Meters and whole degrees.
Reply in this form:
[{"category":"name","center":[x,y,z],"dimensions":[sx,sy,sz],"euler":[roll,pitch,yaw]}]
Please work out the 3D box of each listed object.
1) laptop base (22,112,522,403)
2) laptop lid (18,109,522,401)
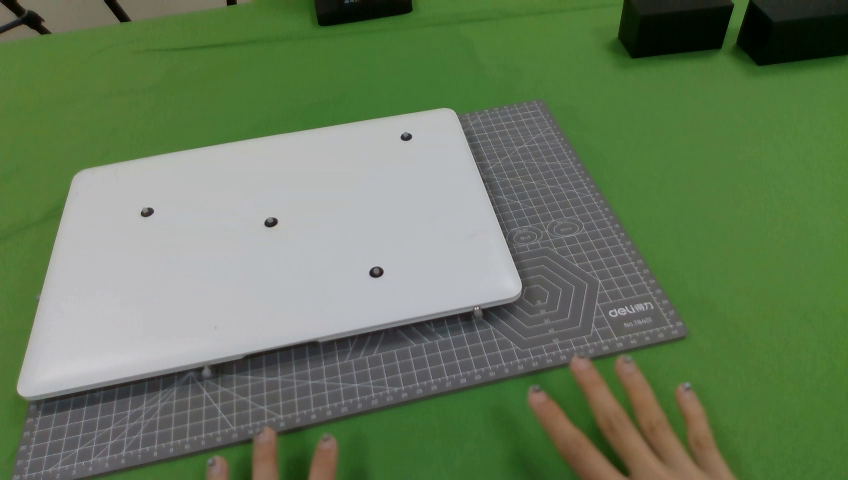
[{"category":"laptop base","center":[-0.121,-0.003,0.499],"dimensions":[0.355,0.023,0.233],"euler":[-11,51,-5]},{"category":"laptop lid","center":[-0.121,-0.009,0.489],"dimensions":[0.357,0.013,0.239],"euler":[-10,49,-4]}]
